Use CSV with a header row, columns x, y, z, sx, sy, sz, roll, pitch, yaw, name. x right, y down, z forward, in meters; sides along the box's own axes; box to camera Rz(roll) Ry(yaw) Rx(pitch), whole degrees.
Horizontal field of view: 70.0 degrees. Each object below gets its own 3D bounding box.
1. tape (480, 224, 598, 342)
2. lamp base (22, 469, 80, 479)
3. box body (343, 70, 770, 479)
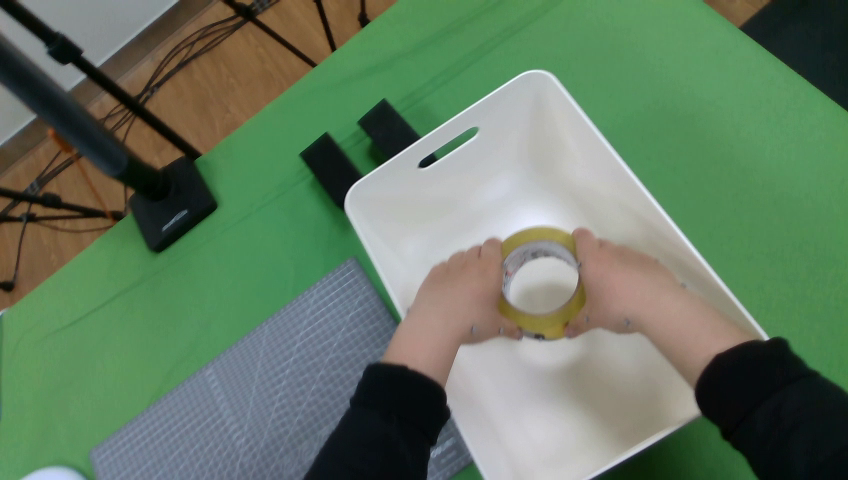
x,y,z,sx,sy,sz,roll,pitch,yaw,name
0.117,0.044,0.622,0.116,0.053,0.116,-6,69,16,tape
-0.531,0.355,0.718,0.178,0.182,0.159,0,70,21,lamp base
0.115,0.048,0.625,0.254,0.162,0.360,-33,64,5,box body
